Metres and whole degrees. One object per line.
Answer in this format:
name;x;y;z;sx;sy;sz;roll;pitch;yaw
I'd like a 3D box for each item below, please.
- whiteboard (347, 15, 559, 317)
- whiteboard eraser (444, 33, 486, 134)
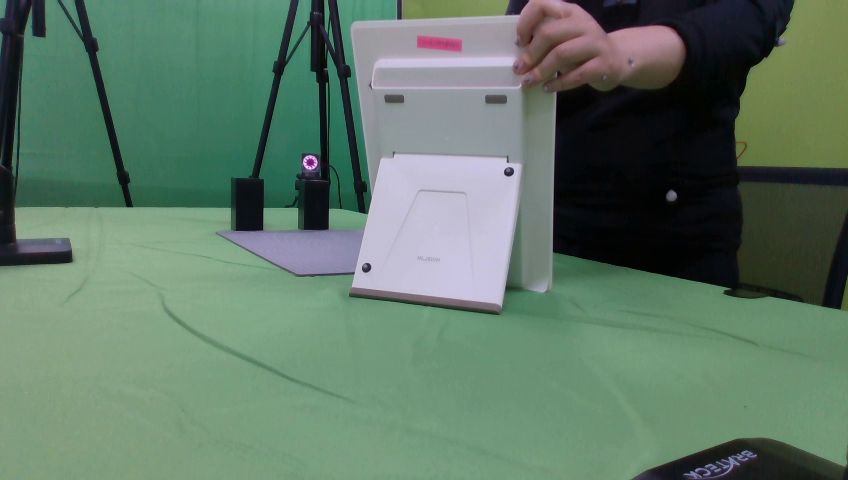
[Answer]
whiteboard;0.012;-0.056;0.609;0.216;0.305;0.144;5;26;19
whiteboard eraser;0.043;-0.162;0.631;0.041;0.101;0.019;4;24;17
